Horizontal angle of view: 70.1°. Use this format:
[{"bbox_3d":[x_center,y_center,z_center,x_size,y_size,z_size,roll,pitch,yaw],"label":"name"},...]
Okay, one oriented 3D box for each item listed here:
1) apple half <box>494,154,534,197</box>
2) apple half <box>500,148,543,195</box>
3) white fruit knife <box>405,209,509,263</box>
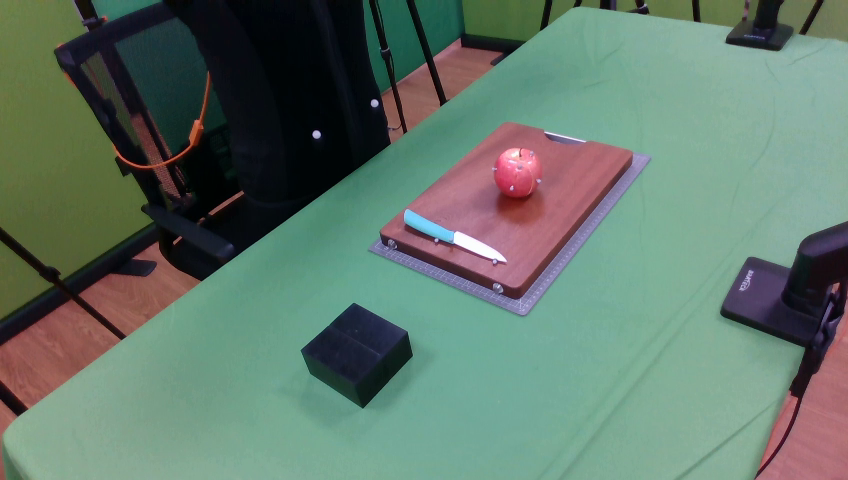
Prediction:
[{"bbox_3d":[0.140,-0.098,0.989,0.080,0.081,0.033,27,50,35],"label":"apple half"},{"bbox_3d":[0.166,-0.118,1.010,0.080,0.075,0.053,23,46,38],"label":"apple half"},{"bbox_3d":[0.046,-0.005,0.944,0.205,0.016,0.027,24,64,32],"label":"white fruit knife"}]
